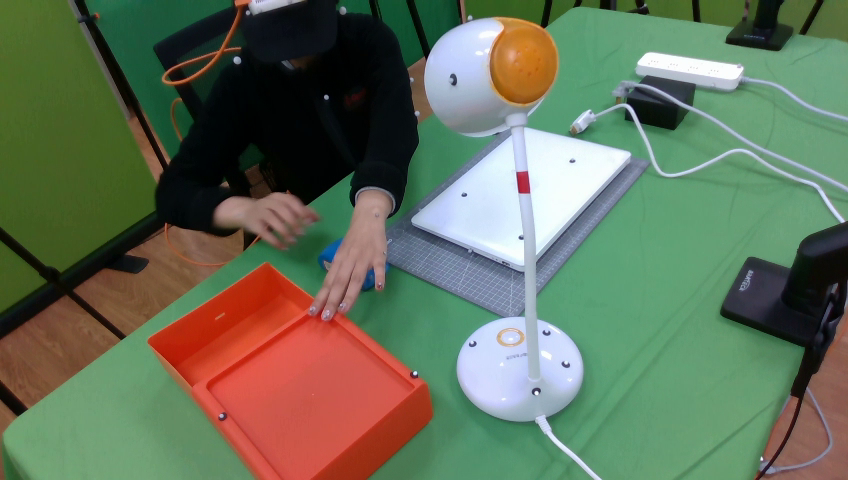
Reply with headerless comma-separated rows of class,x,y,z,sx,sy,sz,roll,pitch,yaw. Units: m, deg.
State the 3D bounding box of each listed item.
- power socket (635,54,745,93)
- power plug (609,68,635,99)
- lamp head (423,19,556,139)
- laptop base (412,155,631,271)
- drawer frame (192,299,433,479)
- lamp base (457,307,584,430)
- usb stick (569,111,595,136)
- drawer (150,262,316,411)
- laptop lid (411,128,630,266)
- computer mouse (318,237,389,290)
power socket,0.563,-0.358,1.295,0.225,0.033,0.072,21,49,31
power plug,0.406,-0.323,1.233,0.035,0.072,0.052,6,36,-34
lamp head,0.068,-0.151,0.563,0.113,0.113,0.122,-21,18,-13
laptop base,0.176,-0.084,1.055,0.233,0.023,0.355,21,48,36
drawer frame,-0.134,0.195,0.734,0.202,0.083,0.211,-35,47,-29
lamp base,0.115,0.108,0.713,0.161,0.181,0.178,-16,43,-8
usb stick,0.309,-0.227,1.189,0.059,0.021,0.027,-44,13,-19
drawer,-0.224,0.146,0.813,0.210,0.073,0.195,29,52,36
laptop lid,0.172,-0.093,1.049,0.239,0.013,0.358,23,50,36
computer mouse,-0.113,0.034,0.959,0.116,0.041,0.063,28,50,31
